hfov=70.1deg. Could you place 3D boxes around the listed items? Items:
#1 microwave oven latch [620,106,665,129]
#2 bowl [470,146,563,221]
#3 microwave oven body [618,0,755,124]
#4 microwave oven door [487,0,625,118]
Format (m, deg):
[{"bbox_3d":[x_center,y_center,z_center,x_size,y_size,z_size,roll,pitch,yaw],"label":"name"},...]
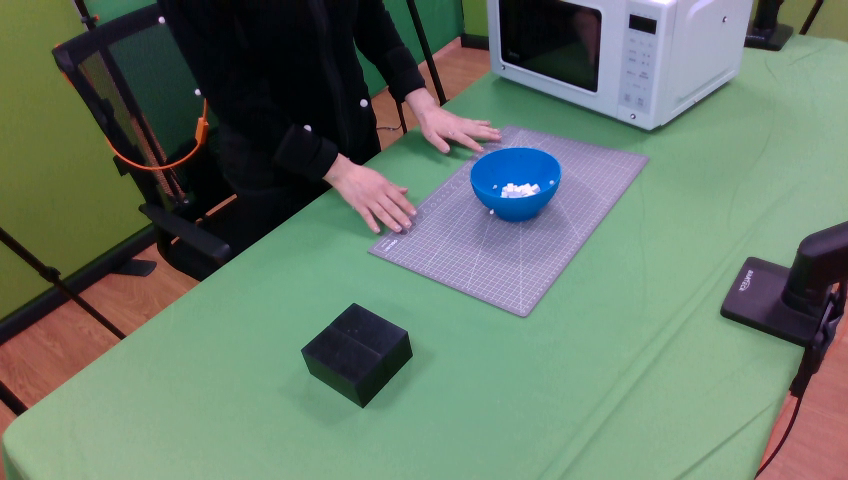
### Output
[{"bbox_3d":[0.412,-0.237,1.146,0.030,0.029,0.078,-32,44,-23],"label":"microwave oven latch"},{"bbox_3d":[0.155,-0.084,1.008,0.151,0.077,0.150,-6,40,5],"label":"bowl"},{"bbox_3d":[0.402,-0.458,1.259,0.327,0.261,0.437,-33,45,-24],"label":"microwave oven body"},{"bbox_3d":[0.262,-0.409,1.221,0.039,0.245,0.352,-33,45,-25],"label":"microwave oven door"}]
